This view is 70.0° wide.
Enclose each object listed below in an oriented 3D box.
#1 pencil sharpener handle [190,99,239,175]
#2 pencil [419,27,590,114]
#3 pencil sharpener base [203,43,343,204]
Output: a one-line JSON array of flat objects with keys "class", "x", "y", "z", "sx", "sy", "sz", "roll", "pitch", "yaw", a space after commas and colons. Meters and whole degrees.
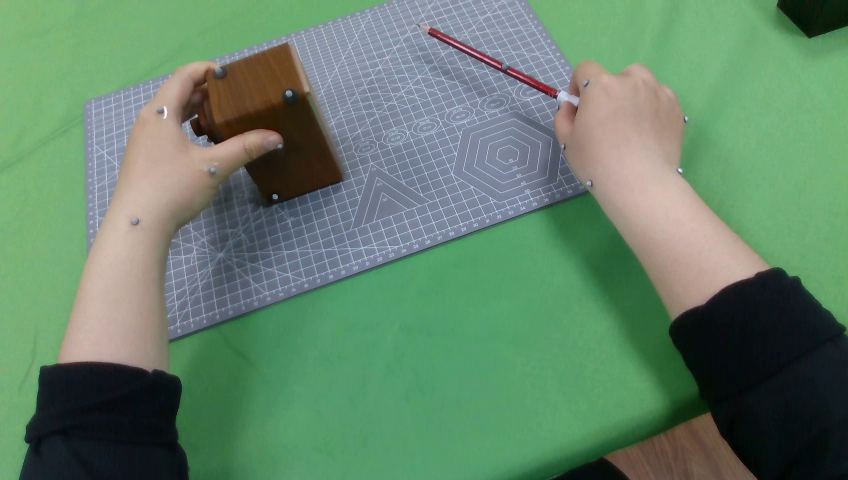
[{"class": "pencil sharpener handle", "x": -0.168, "y": -0.076, "z": 0.469, "sx": 0.030, "sy": 0.068, "sz": 0.035, "roll": -21, "pitch": 59, "yaw": -3}, {"class": "pencil", "x": 0.063, "y": -0.153, "z": 0.529, "sx": 0.192, "sy": 0.012, "sz": 0.012, "roll": 36, "pitch": 70, "yaw": 29}, {"class": "pencil sharpener base", "x": -0.118, "y": -0.088, "z": 0.483, "sx": 0.077, "sy": 0.108, "sz": 0.060, "roll": -21, "pitch": 59, "yaw": -3}]
